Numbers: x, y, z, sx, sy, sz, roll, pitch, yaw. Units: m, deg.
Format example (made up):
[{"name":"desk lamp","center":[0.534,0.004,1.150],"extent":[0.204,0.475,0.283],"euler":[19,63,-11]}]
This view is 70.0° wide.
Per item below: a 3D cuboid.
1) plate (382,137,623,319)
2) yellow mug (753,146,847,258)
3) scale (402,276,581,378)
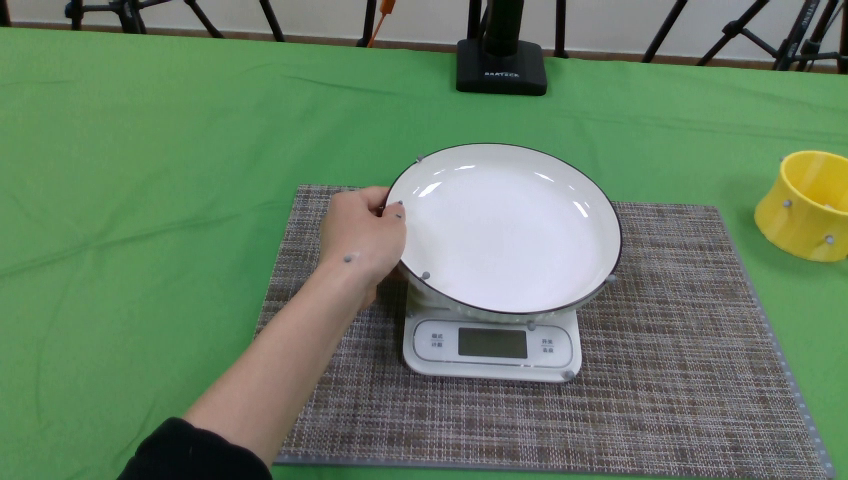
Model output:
[{"name":"plate","center":[0.067,-0.013,0.536],"extent":[0.209,0.038,0.207],"euler":[2,48,-2]},{"name":"yellow mug","center":[0.412,-0.032,0.609],"extent":[0.100,0.064,0.129],"euler":[-32,57,-28]},{"name":"scale","center":[0.060,0.030,0.550],"extent":[0.149,0.032,0.199],"euler":[3,47,0]}]
